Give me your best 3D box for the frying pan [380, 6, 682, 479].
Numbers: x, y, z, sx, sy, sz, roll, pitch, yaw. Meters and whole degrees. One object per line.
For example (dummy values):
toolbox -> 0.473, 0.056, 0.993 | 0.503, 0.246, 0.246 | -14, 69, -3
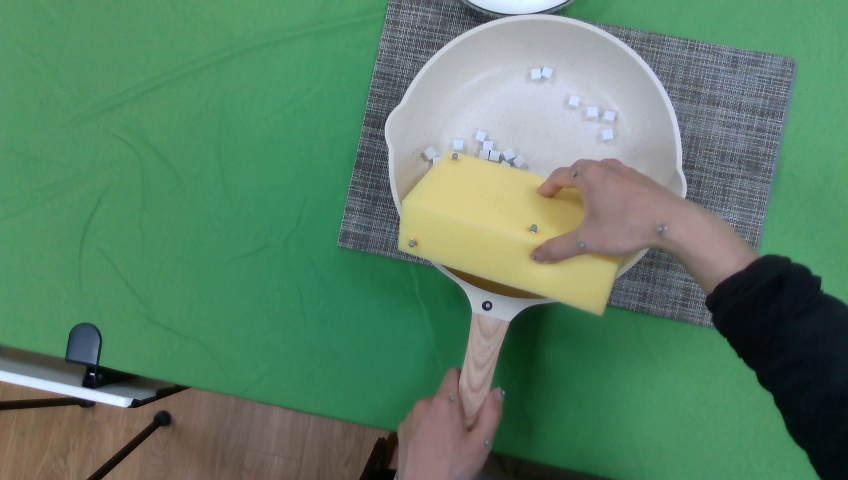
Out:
frying pan -> 0.079, 0.011, 0.621 | 0.306, 0.103, 0.486 | 15, 82, 6

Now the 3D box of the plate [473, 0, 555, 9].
plate -> 0.101, -0.351, 0.661 | 0.207, 0.039, 0.207 | 0, 89, 5

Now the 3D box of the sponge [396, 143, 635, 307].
sponge -> 0.091, -0.021, 0.598 | 0.206, 0.117, 0.061 | 17, 129, 13
